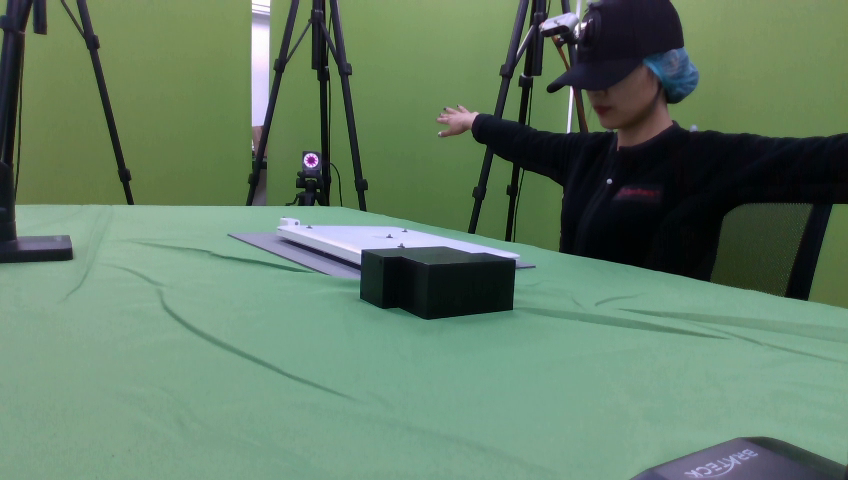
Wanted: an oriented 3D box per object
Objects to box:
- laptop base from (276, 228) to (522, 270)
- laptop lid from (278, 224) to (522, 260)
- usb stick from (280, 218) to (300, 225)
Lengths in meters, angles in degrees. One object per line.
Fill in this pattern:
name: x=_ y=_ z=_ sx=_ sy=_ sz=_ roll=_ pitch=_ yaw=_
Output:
laptop base: x=-0.054 y=0.011 z=0.910 sx=0.237 sy=0.023 sz=0.352 roll=1 pitch=6 yaw=-33
laptop lid: x=-0.052 y=-0.001 z=0.909 sx=0.243 sy=0.013 sz=0.355 roll=0 pitch=7 yaw=-32
usb stick: x=-0.225 y=-0.023 z=1.024 sx=0.021 sy=0.027 sz=0.059 roll=0 pitch=9 yaw=-31
